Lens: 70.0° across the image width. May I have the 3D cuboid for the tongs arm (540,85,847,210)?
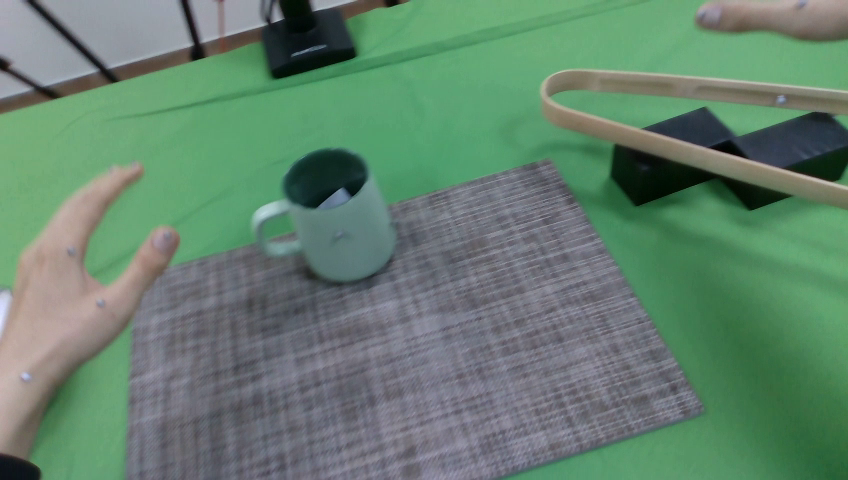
[{"bbox_3d":[0.273,-0.072,0.537,0.385,0.028,0.028,23,66,25],"label":"tongs arm"}]

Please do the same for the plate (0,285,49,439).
[{"bbox_3d":[-0.436,0.133,0.541,0.209,0.038,0.207,-4,51,5],"label":"plate"}]

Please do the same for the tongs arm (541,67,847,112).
[{"bbox_3d":[0.306,-0.130,0.575,0.383,0.027,0.050,12,58,18],"label":"tongs arm"}]

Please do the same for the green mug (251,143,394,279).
[{"bbox_3d":[-0.095,-0.020,0.560,0.125,0.106,0.091,-17,52,-5],"label":"green mug"}]
